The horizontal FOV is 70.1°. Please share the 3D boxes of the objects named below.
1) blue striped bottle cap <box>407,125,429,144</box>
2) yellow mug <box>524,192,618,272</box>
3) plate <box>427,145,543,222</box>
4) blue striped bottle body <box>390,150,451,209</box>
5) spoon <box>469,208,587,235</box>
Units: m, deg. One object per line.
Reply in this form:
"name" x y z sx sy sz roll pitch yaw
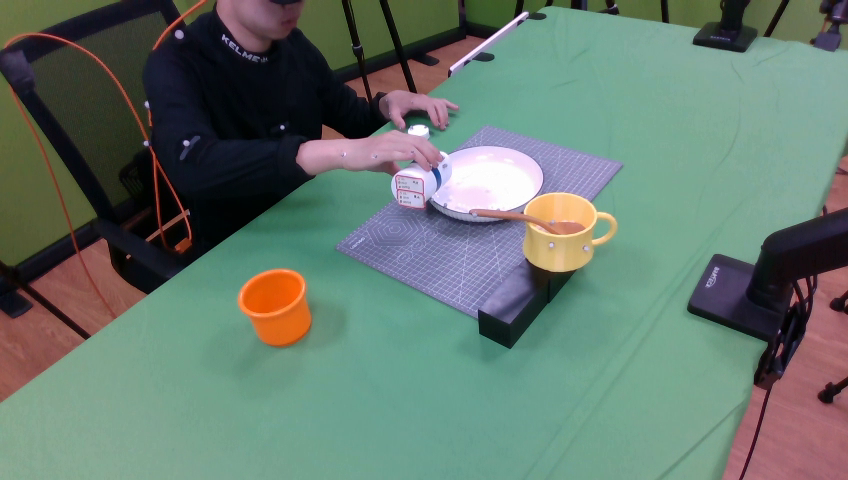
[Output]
"blue striped bottle cap" -0.012 -0.214 1.227 0.044 0.021 0.044 -5 37 4
"yellow mug" 0.206 -0.014 0.845 0.131 0.064 0.099 -4 40 2
"plate" 0.101 -0.094 1.048 0.207 0.039 0.206 -4 41 4
"blue striped bottle body" 0.001 -0.102 0.958 0.062 0.063 0.121 14 35 23
"spoon" 0.143 -0.026 0.817 0.195 0.021 0.041 12 34 -29
